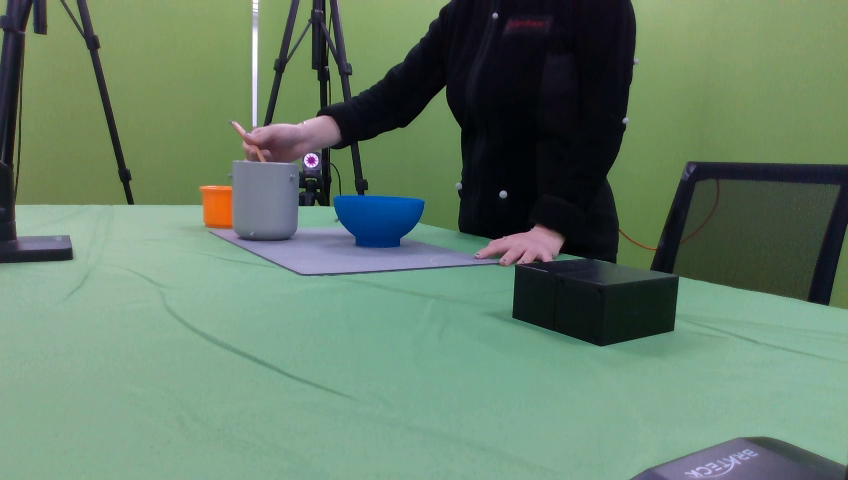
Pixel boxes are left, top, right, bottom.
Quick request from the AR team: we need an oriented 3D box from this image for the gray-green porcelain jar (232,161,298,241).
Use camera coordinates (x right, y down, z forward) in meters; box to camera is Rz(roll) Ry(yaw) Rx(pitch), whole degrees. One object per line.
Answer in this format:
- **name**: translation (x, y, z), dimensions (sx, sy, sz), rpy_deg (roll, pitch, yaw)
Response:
- **gray-green porcelain jar**: translation (-0.262, -0.065, 0.998), dimensions (0.106, 0.126, 0.106), rpy_deg (3, 7, 0)

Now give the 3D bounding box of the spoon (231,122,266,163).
- **spoon**: translation (-0.278, -0.138, 1.021), dimensions (0.042, 0.021, 0.193), rpy_deg (-3, 51, -51)

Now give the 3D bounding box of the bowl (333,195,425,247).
- **bowl**: translation (-0.074, -0.031, 0.987), dimensions (0.151, 0.077, 0.151), rpy_deg (2, 7, 0)
